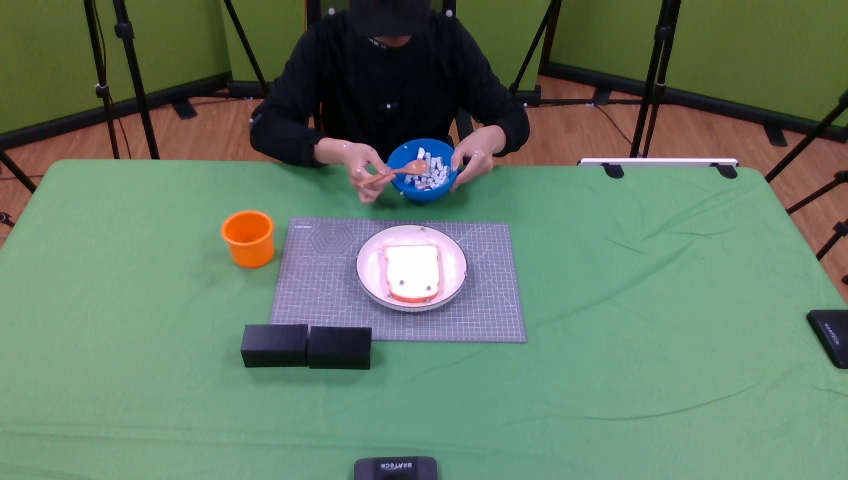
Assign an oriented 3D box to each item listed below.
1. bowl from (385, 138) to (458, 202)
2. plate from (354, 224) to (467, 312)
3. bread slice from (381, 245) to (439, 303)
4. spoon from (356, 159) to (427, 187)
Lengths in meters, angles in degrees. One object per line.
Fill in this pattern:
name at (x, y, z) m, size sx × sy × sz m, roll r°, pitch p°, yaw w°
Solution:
bowl at (-0.001, -0.133, 1.266) m, size 0.151 × 0.077 × 0.150 m, roll -3°, pitch 54°, yaw 5°
plate at (-0.025, 0.055, 1.128) m, size 0.209 × 0.038 × 0.208 m, roll 3°, pitch 46°, yaw -2°
bread slice at (-0.022, 0.061, 1.126) m, size 0.107 × 0.018 × 0.133 m, roll -3°, pitch 45°, yaw -8°
spoon at (-0.064, -0.133, 1.204) m, size 0.041 × 0.022 × 0.194 m, roll 43°, pitch 38°, yaw 24°
